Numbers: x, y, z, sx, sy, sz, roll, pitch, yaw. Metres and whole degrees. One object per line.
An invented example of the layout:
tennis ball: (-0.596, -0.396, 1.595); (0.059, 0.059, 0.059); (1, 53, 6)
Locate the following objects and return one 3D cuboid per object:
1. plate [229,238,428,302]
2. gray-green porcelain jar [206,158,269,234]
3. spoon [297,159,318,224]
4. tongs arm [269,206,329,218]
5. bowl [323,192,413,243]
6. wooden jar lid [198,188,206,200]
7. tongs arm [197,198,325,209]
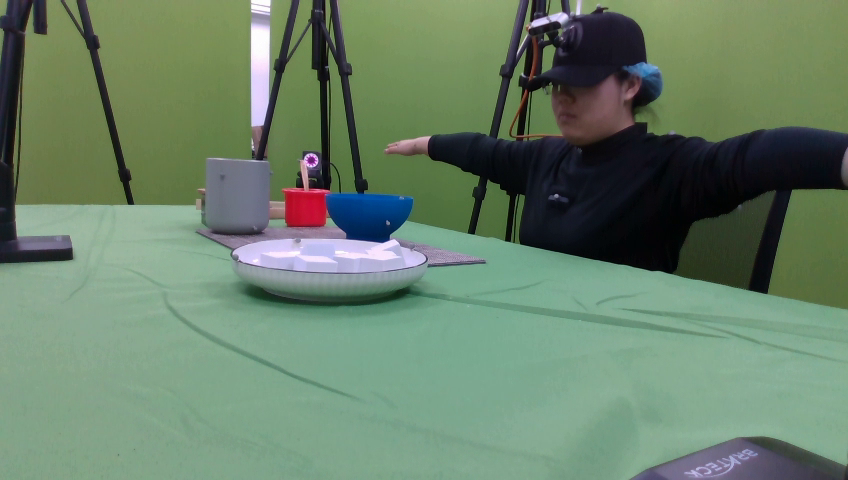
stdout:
plate: (-0.099, 0.032, 0.651); (0.209, 0.038, 0.209); (3, 8, 0)
gray-green porcelain jar: (-0.323, -0.076, 1.048); (0.106, 0.126, 0.106); (3, 7, 0)
spoon: (-0.244, -0.103, 1.251); (0.042, 0.021, 0.193); (1, 51, -17)
tongs arm: (-0.293, -0.065, 1.383); (0.390, 0.028, 0.028); (-3, 7, -42)
bowl: (-0.094, -0.037, 1.015); (0.151, 0.077, 0.151); (3, 7, 0)
wooden jar lid: (-0.382, -0.088, 1.175); (0.108, 0.020, 0.108); (3, 8, 0)
tongs arm: (-0.337, -0.079, 1.449); (0.387, 0.026, 0.050); (0, 8, -29)
